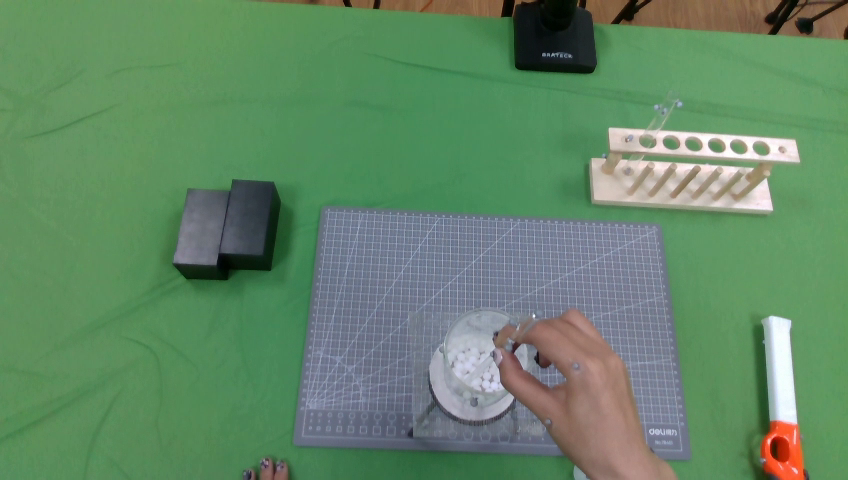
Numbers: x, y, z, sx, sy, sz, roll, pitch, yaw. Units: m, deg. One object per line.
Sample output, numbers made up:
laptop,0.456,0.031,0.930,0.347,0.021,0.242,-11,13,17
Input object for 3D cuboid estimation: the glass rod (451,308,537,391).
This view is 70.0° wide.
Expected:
glass rod,0.050,0.093,0.483,0.008,0.200,0.008,6,61,-12

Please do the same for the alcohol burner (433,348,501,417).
alcohol burner,0.048,0.151,0.656,0.078,0.120,0.077,2,65,-4

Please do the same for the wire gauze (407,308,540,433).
wire gauze,0.046,0.124,0.585,0.125,0.011,0.120,0,65,-1

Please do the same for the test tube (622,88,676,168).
test tube,0.278,-0.135,0.757,0.017,0.151,0.017,1,63,-1

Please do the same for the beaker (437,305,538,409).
beaker,0.051,0.108,0.539,0.084,0.101,0.073,-1,66,-4

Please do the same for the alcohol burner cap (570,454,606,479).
alcohol burner cap,0.183,0.251,0.664,0.034,0.048,0.033,1,65,-2

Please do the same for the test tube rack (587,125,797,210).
test tube rack,0.348,-0.093,0.797,0.242,0.086,0.066,3,66,-2

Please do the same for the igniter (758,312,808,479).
igniter,0.411,0.218,0.699,0.057,0.025,0.274,14,67,-9

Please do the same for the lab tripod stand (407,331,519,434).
lab tripod stand,0.043,0.154,0.644,0.148,0.132,0.147,1,66,-1
